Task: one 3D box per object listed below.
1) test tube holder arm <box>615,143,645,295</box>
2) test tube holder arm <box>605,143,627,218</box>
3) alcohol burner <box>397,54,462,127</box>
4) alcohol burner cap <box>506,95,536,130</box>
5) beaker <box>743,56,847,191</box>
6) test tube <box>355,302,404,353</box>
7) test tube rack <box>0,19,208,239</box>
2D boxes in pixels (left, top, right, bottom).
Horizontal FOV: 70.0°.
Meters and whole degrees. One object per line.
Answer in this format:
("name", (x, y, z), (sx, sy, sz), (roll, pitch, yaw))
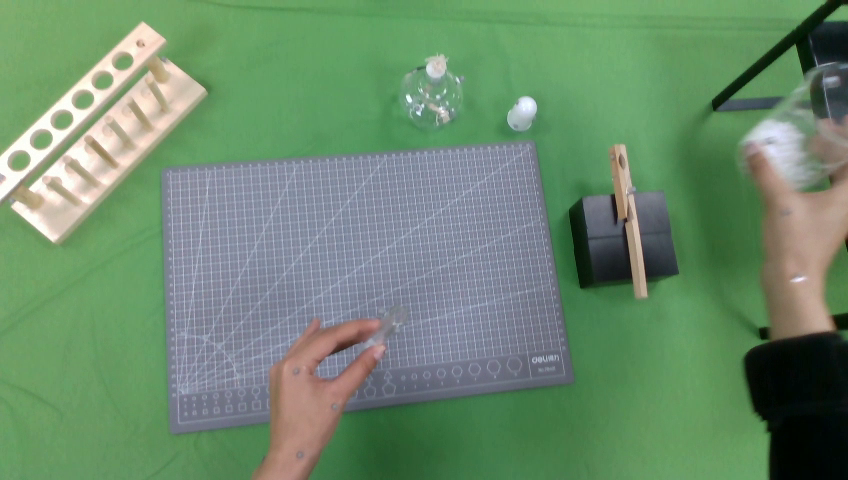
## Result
("test tube holder arm", (0.234, -0.025, 0.695), (0.013, 0.015, 0.177), (-3, 79, -17))
("test tube holder arm", (0.224, -0.069, 0.702), (0.010, 0.015, 0.087), (-3, 79, -17))
("alcohol burner", (0.009, -0.181, 0.706), (0.078, 0.119, 0.077), (2, 76, -7))
("alcohol burner cap", (0.122, -0.160, 0.750), (0.034, 0.048, 0.033), (1, 77, -5))
("beaker", (0.320, -0.090, 0.500), (0.084, 0.101, 0.073), (1, 70, -4))
("test tube", (-0.042, 0.081, 0.540), (0.017, 0.150, 0.017), (6, 68, -14))
("test tube rack", (-0.358, -0.120, 0.669), (0.066, 0.085, 0.242), (39, 77, 4))
